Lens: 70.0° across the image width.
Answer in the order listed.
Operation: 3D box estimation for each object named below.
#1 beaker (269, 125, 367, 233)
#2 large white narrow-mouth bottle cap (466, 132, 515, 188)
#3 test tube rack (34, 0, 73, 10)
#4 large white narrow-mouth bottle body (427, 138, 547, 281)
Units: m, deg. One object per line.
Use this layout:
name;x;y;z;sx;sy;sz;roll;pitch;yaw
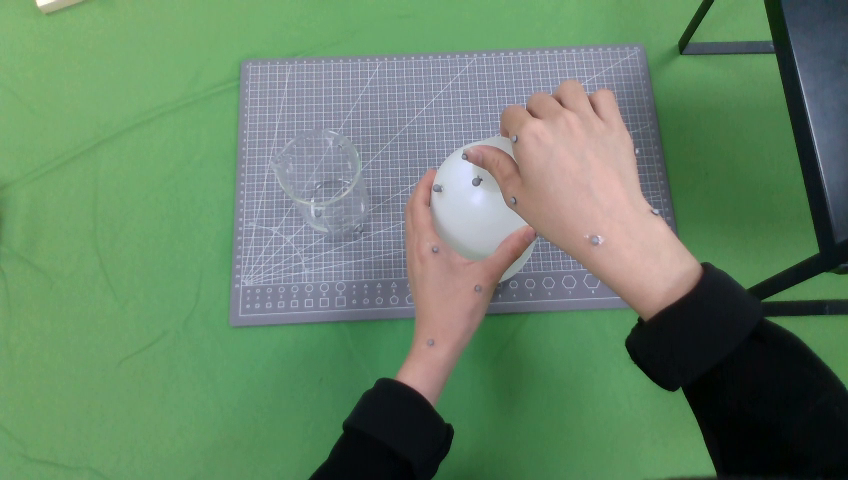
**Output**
beaker;-0.096;-0.053;0.580;0.084;0.101;0.073;7;72;3
large white narrow-mouth bottle cap;0.048;-0.058;0.440;0.038;0.024;0.037;0;73;2
test tube rack;-0.343;-0.352;0.680;0.242;0.085;0.066;-23;74;-7
large white narrow-mouth bottle body;0.054;-0.032;0.524;0.102;0.196;0.101;-1;73;2
